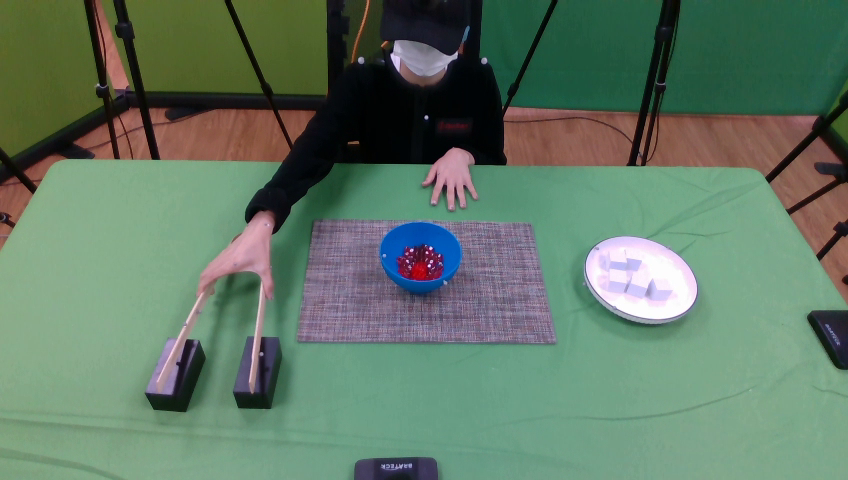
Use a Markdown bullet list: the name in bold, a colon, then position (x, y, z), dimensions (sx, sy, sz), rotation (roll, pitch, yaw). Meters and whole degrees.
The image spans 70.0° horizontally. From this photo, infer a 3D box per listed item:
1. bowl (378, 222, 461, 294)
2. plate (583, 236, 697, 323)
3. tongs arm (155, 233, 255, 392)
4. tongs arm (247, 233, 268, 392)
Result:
- **bowl**: position (-0.010, 0.046, 1.110), dimensions (0.151, 0.077, 0.150), rotation (3, 45, -2)
- **plate**: position (0.403, 0.078, 1.144), dimensions (0.209, 0.038, 0.208), rotation (2, 45, -2)
- **tongs arm**: position (-0.354, 0.102, 1.017), dimensions (0.051, 0.026, 0.382), rotation (1, 34, 0)
- **tongs arm**: position (-0.284, 0.103, 1.022), dimensions (0.028, 0.028, 0.385), rotation (-7, 35, -6)
